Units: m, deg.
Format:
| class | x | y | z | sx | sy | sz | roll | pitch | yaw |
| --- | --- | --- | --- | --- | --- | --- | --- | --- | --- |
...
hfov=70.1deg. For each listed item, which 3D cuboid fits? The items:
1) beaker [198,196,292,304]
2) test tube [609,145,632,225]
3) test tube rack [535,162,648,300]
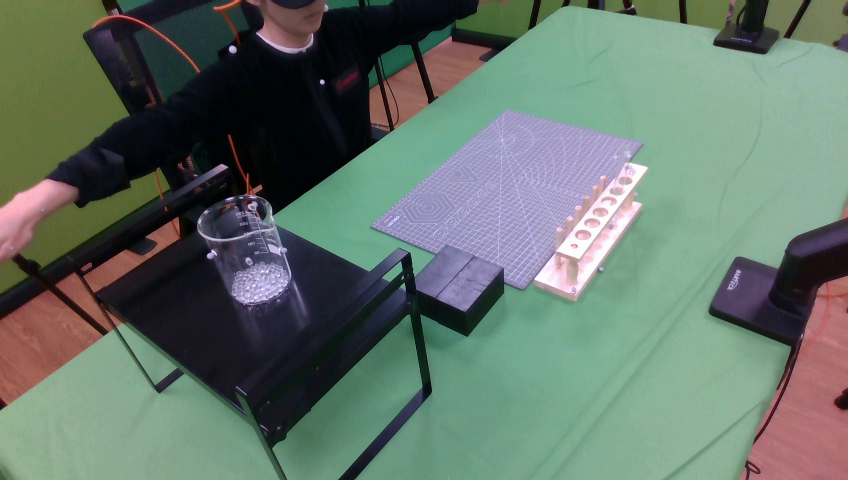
| class | x | y | z | sx | sy | sz | roll | pitch | yaw |
| --- | --- | --- | --- | --- | --- | --- | --- | --- | --- |
| beaker | -0.185 | 0.014 | 0.651 | 0.083 | 0.101 | 0.074 | 9 | 44 | 18 |
| test tube | 0.290 | -0.078 | 0.896 | 0.017 | 0.151 | 0.017 | -4 | 46 | 5 |
| test tube rack | 0.257 | -0.024 | 0.916 | 0.066 | 0.085 | 0.243 | 22 | 49 | 30 |
